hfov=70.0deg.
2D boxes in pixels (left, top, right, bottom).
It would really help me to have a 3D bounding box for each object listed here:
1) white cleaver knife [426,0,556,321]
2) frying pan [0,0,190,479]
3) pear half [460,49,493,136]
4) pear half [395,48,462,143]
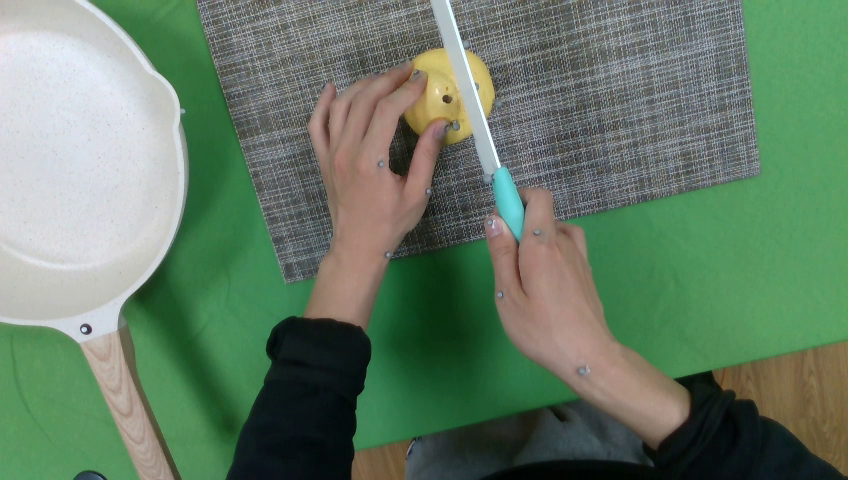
[{"bbox_3d":[0.045,-0.068,0.433,0.021,0.065,0.288,-20,109,-2],"label":"white cleaver knife"},{"bbox_3d":[-0.307,0.026,0.533,0.307,0.102,0.488,-18,95,6],"label":"frying pan"},{"bbox_3d":[0.040,-0.122,0.490,0.031,0.087,0.070,-12,101,4],"label":"pear half"},{"bbox_3d":[0.005,-0.114,0.483,0.056,0.109,0.076,-11,100,3],"label":"pear half"}]
